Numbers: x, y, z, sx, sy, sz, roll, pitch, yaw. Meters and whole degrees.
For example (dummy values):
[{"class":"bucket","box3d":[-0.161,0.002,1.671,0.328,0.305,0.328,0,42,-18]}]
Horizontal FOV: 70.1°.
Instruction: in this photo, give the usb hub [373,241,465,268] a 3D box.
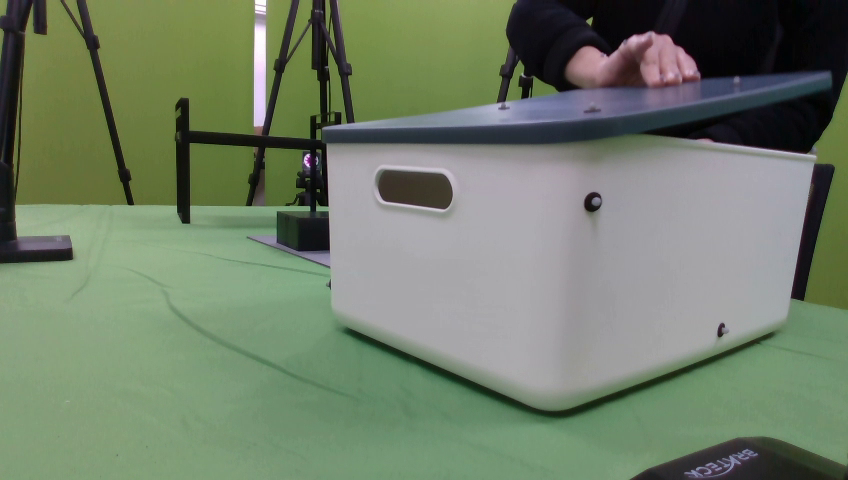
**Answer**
[{"class":"usb hub","box3d":[-0.005,0.018,0.826,0.126,0.025,0.049,-3,9,-39]}]

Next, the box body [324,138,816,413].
[{"class":"box body","box3d":[0.125,-0.001,0.510,0.366,0.160,0.253,-4,10,-41]}]

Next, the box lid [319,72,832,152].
[{"class":"box lid","box3d":[0.129,-0.107,0.493,0.373,0.015,0.262,-18,19,-37]}]
